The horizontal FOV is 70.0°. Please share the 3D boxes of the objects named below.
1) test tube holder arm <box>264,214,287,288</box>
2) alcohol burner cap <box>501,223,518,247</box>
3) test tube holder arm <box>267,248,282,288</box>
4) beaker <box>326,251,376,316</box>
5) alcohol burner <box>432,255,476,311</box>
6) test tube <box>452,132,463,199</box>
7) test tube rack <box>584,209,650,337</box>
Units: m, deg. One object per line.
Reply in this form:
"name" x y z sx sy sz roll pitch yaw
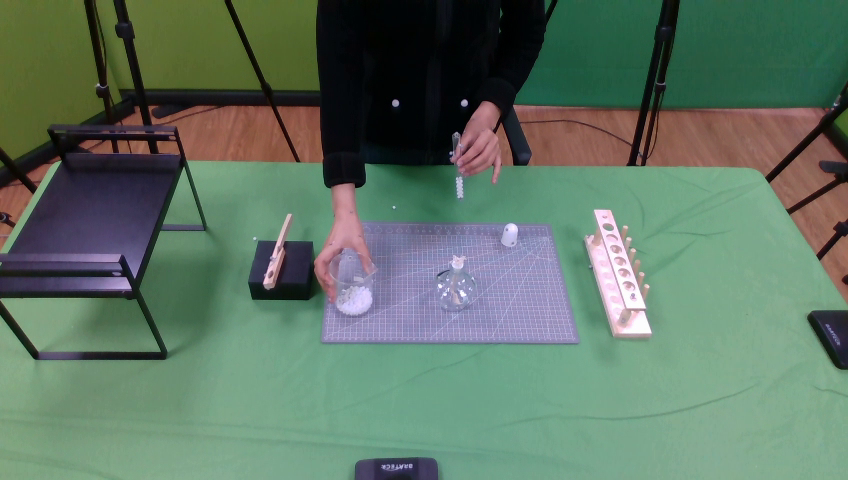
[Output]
"test tube holder arm" -0.268 0.016 1.099 0.013 0.015 0.177 2 45 -4
"alcohol burner cap" 0.172 -0.013 1.206 0.034 0.048 0.033 1 45 -1
"test tube holder arm" -0.262 0.048 1.068 0.010 0.015 0.087 4 45 -3
"beaker" -0.124 0.079 1.054 0.084 0.101 0.073 1 48 -2
"alcohol burner" 0.055 0.070 1.068 0.078 0.119 0.077 3 45 -3
"test tube" 0.064 -0.139 1.154 0.017 0.151 0.017 -3 43 3
"test tube rack" 0.365 0.056 1.129 0.067 0.085 0.240 1 46 -3
